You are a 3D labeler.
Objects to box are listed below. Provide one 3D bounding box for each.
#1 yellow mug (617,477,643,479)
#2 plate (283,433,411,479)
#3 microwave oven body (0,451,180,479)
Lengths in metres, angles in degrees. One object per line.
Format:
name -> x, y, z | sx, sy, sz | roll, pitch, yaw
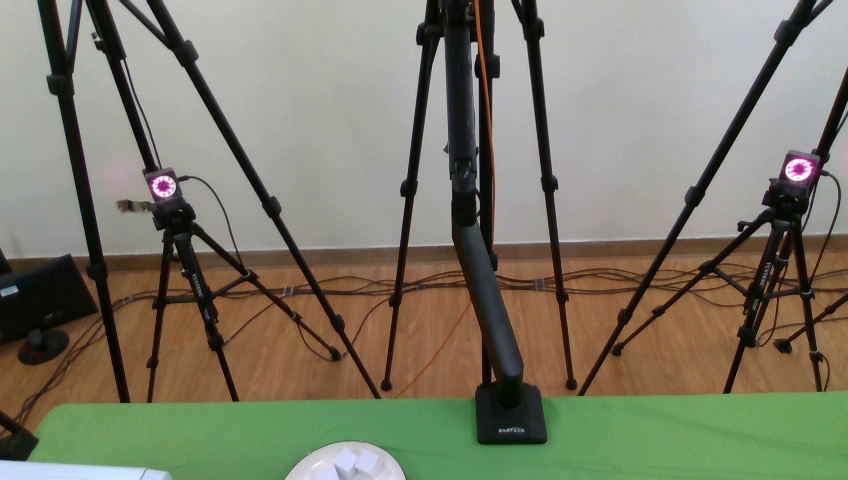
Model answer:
yellow mug -> 0.293, 0.409, 0.892 | 0.130, 0.064, 0.099 | 5, 39, 12
plate -> -0.123, 0.403, 0.956 | 0.207, 0.039, 0.205 | -2, 38, 2
microwave oven body -> -0.487, 0.497, 0.674 | 0.326, 0.262, 0.437 | 1, 39, 5
